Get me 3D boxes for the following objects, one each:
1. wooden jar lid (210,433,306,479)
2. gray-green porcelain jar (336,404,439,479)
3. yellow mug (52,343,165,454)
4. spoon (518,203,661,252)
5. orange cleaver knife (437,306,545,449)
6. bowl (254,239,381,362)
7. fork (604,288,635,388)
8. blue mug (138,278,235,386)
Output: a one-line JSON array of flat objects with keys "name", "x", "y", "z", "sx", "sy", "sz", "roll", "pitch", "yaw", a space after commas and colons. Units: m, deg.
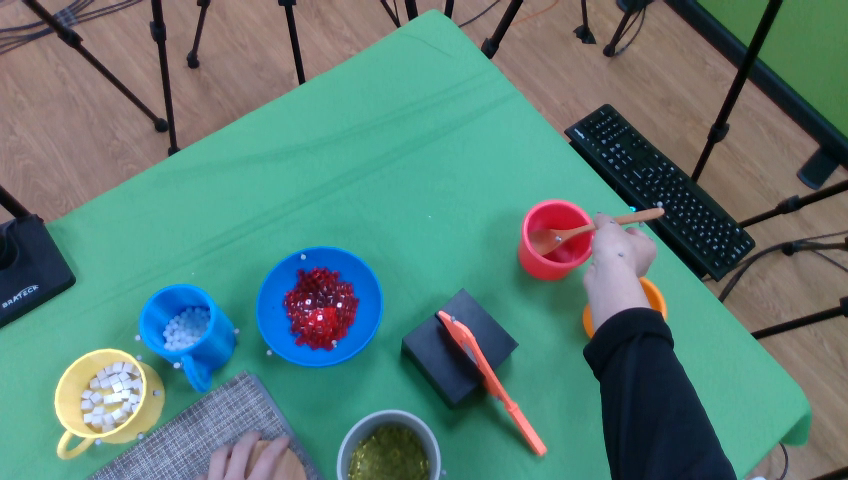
[{"name": "wooden jar lid", "x": -0.189, "y": 0.279, "z": 0.697, "sx": 0.108, "sy": 0.021, "sz": 0.107, "roll": 2, "pitch": 68, "yaw": -4}, {"name": "gray-green porcelain jar", "x": -0.040, "y": 0.243, "z": 0.669, "sx": 0.106, "sy": 0.127, "sz": 0.105, "roll": 2, "pitch": 67, "yaw": -4}, {"name": "yellow mug", "x": -0.372, "y": 0.188, "z": 0.699, "sx": 0.099, "sy": 0.064, "sz": 0.130, "roll": 30, "pitch": 70, "yaw": 9}, {"name": "spoon", "x": 0.209, "y": -0.019, "z": 0.786, "sx": 0.193, "sy": 0.022, "sz": 0.041, "roll": -17, "pitch": 55, "yaw": 38}, {"name": "orange cleaver knife", "x": 0.080, "y": 0.166, "z": 0.734, "sx": 0.012, "sy": 0.077, "sz": 0.212, "roll": -37, "pitch": 104, "yaw": -16}, {"name": "bowl", "x": -0.128, "y": 0.084, "z": 0.754, "sx": 0.151, "sy": 0.077, "sz": 0.150, "roll": 2, "pitch": 68, "yaw": -3}, {"name": "fork", "x": 0.237, "y": 0.112, "z": 0.732, "sx": 0.028, "sy": 0.019, "sz": 0.206, "roll": 27, "pitch": 24, "yaw": 0}, {"name": "blue mug", "x": -0.274, "y": 0.116, "z": 0.716, "sx": 0.082, "sy": 0.106, "sz": 0.115, "roll": -15, "pitch": 69, "yaw": -10}]
